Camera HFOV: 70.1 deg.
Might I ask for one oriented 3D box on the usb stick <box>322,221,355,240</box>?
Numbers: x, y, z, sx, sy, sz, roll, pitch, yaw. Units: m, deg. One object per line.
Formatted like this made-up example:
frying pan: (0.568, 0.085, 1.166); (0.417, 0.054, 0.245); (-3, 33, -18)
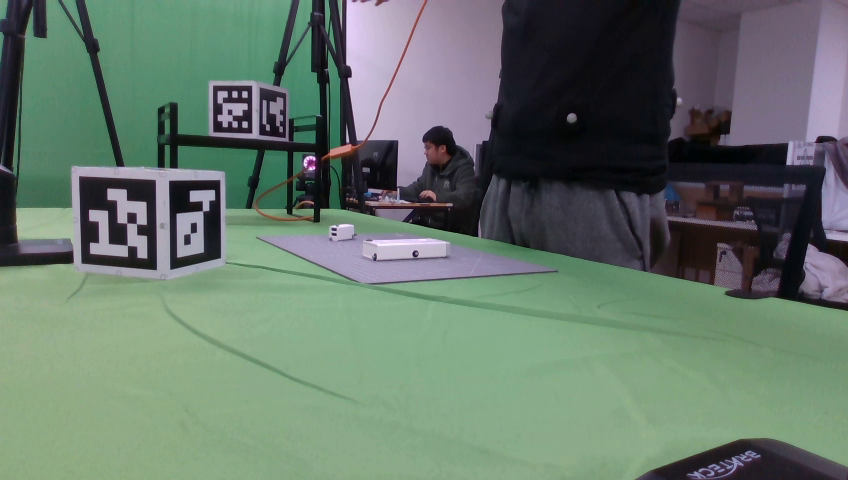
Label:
usb stick: (-0.152, -0.016, 1.058); (0.021, 0.027, 0.059); (-27, -13, 40)

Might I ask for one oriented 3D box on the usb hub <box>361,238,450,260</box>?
usb hub: (-0.026, 0.013, 0.894); (0.126, 0.025, 0.049); (-1, 7, -32)
